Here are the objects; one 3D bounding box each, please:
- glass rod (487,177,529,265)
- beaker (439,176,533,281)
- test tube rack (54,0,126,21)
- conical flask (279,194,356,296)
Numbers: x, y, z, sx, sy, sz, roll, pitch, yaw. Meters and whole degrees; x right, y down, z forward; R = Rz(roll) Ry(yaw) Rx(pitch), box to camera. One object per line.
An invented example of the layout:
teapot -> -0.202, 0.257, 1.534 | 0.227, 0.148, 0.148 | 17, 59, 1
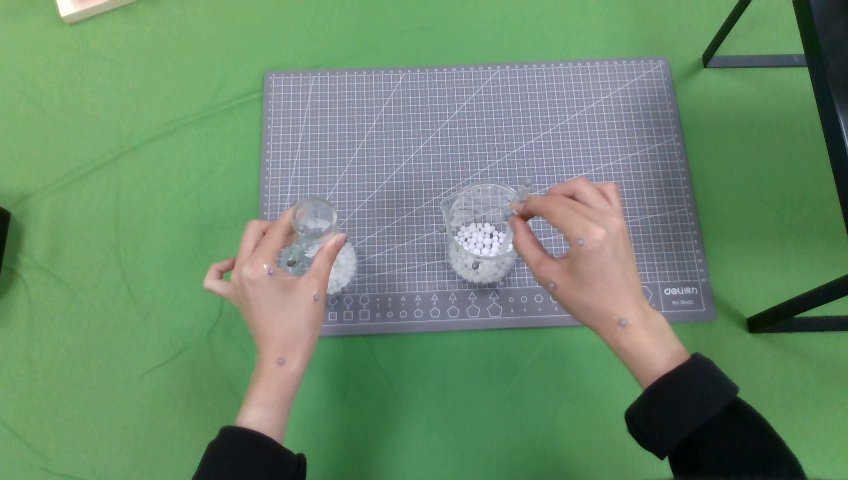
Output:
glass rod -> 0.067, -0.010, 0.505 | 0.008, 0.201, 0.008 | 0, 72, -1
beaker -> 0.053, -0.006, 0.566 | 0.084, 0.101, 0.073 | 21, 73, 8
test tube rack -> -0.316, -0.339, 0.681 | 0.242, 0.085, 0.066 | -23, 73, -7
conical flask -> -0.098, 0.000, 0.549 | 0.075, 0.122, 0.075 | 3, 68, -7
